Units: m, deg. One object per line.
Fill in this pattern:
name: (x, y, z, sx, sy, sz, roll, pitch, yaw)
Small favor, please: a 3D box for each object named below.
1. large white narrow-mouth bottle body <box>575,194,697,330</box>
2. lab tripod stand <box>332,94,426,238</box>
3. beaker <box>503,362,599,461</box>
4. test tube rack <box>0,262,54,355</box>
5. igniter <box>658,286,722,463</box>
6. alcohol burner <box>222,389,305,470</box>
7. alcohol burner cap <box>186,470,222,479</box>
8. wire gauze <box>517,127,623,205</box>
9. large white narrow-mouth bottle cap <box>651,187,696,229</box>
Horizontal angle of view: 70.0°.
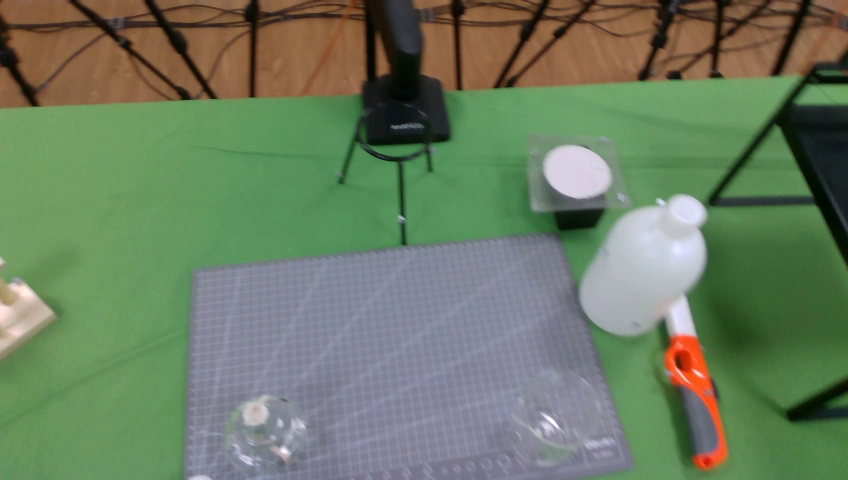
large white narrow-mouth bottle body: (0.234, 0.016, 0.656, 0.102, 0.196, 0.101, 2, 58, -3)
lab tripod stand: (-0.044, -0.095, 0.735, 0.148, 0.132, 0.147, 3, 59, -5)
beaker: (0.118, 0.175, 0.600, 0.084, 0.101, 0.073, -9, 59, -10)
test tube rack: (-0.507, 0.117, 0.588, 0.066, 0.086, 0.242, 37, 62, 16)
igniter: (0.293, 0.114, 0.699, 0.057, 0.025, 0.274, 8, 57, -15)
alcohol burner: (-0.152, 0.172, 0.568, 0.078, 0.120, 0.077, 4, 57, -5)
alcohol burner cap: (-0.207, 0.233, 0.567, 0.034, 0.048, 0.033, 2, 58, -2)
wire gauze: (0.183, -0.096, 0.772, 0.121, 0.011, 0.124, 1, 58, -5)
large white narrow-mouth bottle cap: (0.239, -0.031, 0.583, 0.038, 0.024, 0.037, 2, 58, -3)
